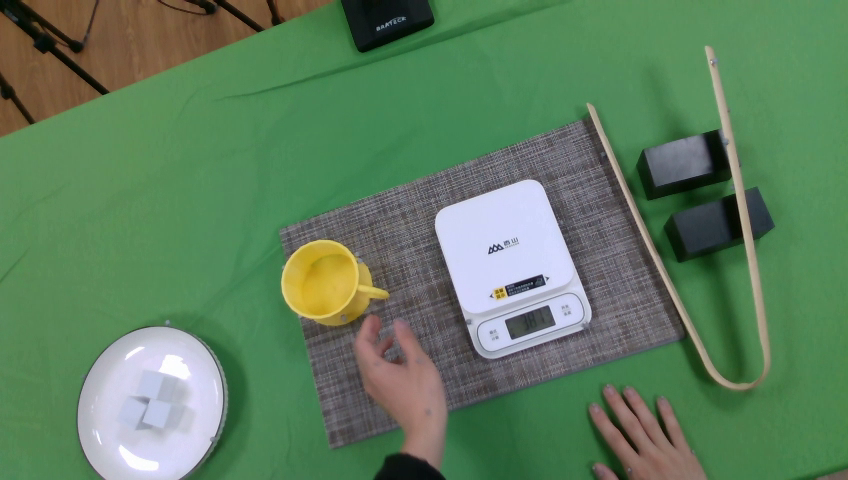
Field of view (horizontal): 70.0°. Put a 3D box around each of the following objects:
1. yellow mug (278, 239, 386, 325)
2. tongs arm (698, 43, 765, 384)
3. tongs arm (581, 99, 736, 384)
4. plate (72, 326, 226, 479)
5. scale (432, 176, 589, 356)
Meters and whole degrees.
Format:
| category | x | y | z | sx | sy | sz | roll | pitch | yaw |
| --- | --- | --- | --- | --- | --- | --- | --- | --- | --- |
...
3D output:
| category | x | y | z | sx | sy | sz | roll | pitch | yaw |
| --- | --- | --- | --- | --- | --- | --- | --- | --- | --- |
| yellow mug | -0.111 | 0.057 | 0.765 | 0.130 | 0.064 | 0.099 | 9 | 78 | 11 |
| tongs arm | 0.335 | -0.034 | 0.686 | 0.050 | 0.027 | 0.383 | -15 | 79 | 35 |
| tongs arm | 0.273 | -0.009 | 0.733 | 0.028 | 0.028 | 0.385 | -29 | 71 | 28 |
| plate | -0.351 | 0.217 | 0.788 | 0.207 | 0.039 | 0.206 | -2 | 76 | 9 |
| scale | 0.104 | 0.030 | 0.751 | 0.148 | 0.032 | 0.199 | -20 | 74 | 6 |
